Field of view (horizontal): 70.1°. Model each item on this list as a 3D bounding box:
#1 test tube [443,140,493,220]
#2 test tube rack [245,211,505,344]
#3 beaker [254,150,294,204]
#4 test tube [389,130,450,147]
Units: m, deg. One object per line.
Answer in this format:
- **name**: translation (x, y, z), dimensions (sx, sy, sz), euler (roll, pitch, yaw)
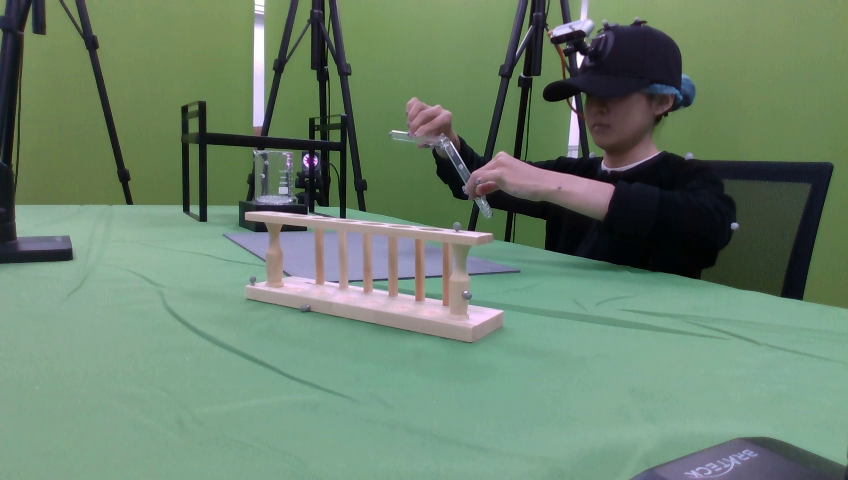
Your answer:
- **test tube**: translation (0.068, -0.094, 0.940), dimensions (0.017, 0.150, 0.017), euler (-24, -21, -10)
- **test tube rack**: translation (-0.049, 0.024, 0.547), dimensions (0.241, 0.085, 0.067), euler (7, 8, 29)
- **beaker**: translation (-0.289, -0.120, 1.151), dimensions (0.073, 0.100, 0.084), euler (8, 9, 33)
- **test tube**: translation (-0.011, -0.172, 1.020), dimensions (0.017, 0.017, 0.149), euler (-4, 15, -41)
